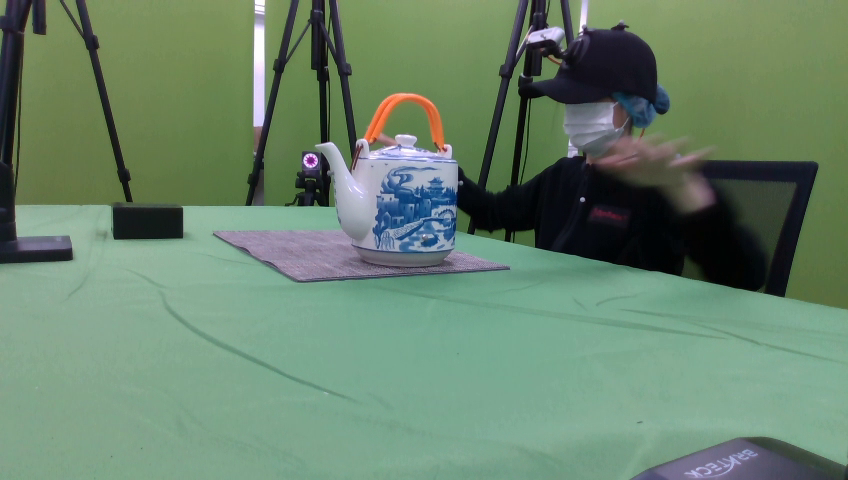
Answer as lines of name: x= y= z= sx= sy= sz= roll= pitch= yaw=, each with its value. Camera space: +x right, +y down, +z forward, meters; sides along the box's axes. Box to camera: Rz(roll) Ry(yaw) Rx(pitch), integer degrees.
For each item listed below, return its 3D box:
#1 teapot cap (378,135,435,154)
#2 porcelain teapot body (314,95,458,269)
teapot cap: x=-0.024 y=-0.119 z=0.811 sx=0.085 sy=0.044 sz=0.085 roll=4 pitch=8 yaw=0
porcelain teapot body: x=-0.049 y=-0.079 z=0.800 sx=0.206 sy=0.225 sz=0.144 roll=-3 pitch=9 yaw=-37
